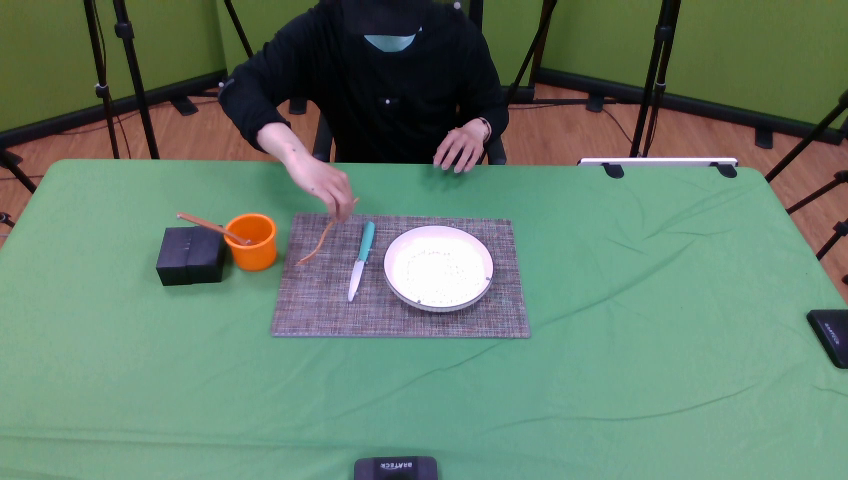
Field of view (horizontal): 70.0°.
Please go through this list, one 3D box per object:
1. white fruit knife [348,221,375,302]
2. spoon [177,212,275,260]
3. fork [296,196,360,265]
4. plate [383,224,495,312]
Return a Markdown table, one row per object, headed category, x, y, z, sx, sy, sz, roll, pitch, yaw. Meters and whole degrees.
| category | x | y | z | sx | sy | sz | roll | pitch | yaw |
| --- | --- | --- | --- | --- | --- | --- | --- | --- | --- |
| white fruit knife | -0.119 | 0.037 | 1.153 | 0.027 | 0.016 | 0.206 | -15 | 43 | 24 |
| spoon | -0.353 | -0.009 | 1.092 | 0.021 | 0.195 | 0.041 | -36 | 44 | 24 |
| fork | -0.175 | -0.021 | 1.135 | 0.018 | 0.028 | 0.206 | 36 | 50 | -5 |
| plate | 0.026 | 0.055 | 1.128 | 0.209 | 0.038 | 0.208 | 2 | 46 | -2 |
